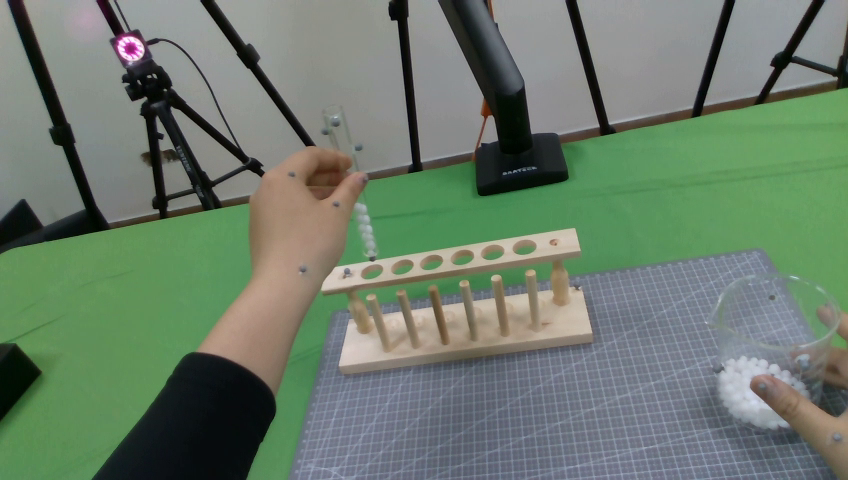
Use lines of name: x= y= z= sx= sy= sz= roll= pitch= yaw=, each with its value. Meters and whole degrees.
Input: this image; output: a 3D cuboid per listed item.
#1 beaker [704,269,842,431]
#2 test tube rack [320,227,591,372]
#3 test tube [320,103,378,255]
beaker: x=0.248 y=0.083 z=0.440 sx=0.084 sy=0.101 sz=0.073 roll=-10 pitch=36 yaw=12
test tube rack: x=0.028 y=0.059 z=0.575 sx=0.242 sy=0.086 sz=0.066 roll=-9 pitch=36 yaw=10
test tube: x=-0.059 y=-0.043 z=0.496 sx=0.017 sy=0.152 sz=0.017 roll=-6 pitch=43 yaw=6
